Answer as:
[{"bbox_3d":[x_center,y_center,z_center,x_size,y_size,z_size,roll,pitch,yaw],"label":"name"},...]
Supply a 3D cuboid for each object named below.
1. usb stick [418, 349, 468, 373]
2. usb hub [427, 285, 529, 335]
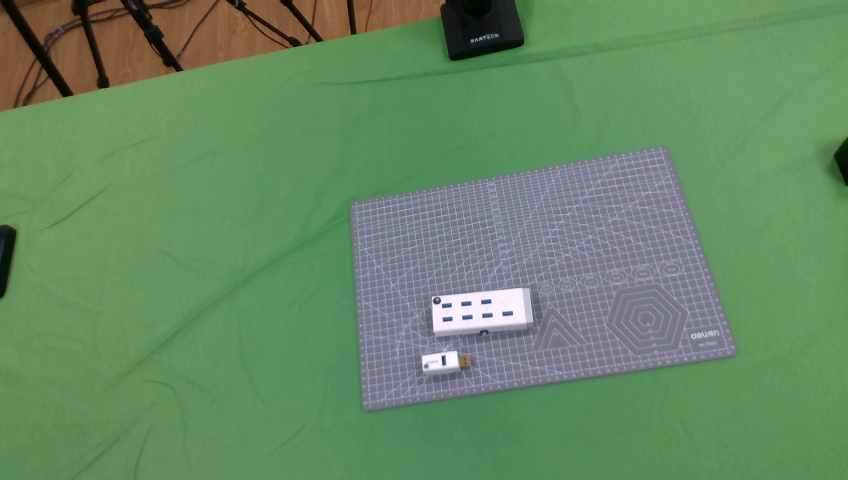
[{"bbox_3d":[0.024,0.148,0.740,0.059,0.027,0.021,-7,65,3],"label":"usb stick"},{"bbox_3d":[0.067,0.088,0.762,0.125,0.025,0.049,-6,64,6],"label":"usb hub"}]
